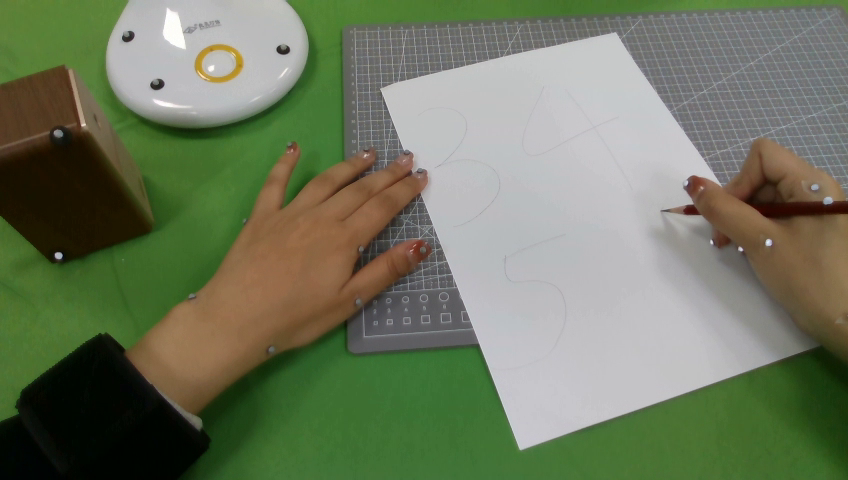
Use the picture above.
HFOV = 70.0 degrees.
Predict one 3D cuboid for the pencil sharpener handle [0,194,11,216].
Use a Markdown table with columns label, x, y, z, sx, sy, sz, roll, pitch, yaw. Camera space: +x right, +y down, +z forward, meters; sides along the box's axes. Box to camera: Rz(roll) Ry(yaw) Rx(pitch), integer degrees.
| label | x | y | z | sx | sy | sz | roll | pitch | yaw |
| --- | --- | --- | --- | --- | --- | --- | --- | --- | --- |
| pencil sharpener handle | -0.276 | -0.031 | 0.359 | 0.031 | 0.068 | 0.035 | -22 | 65 | -13 |

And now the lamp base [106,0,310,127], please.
| label | x | y | z | sx | sy | sz | roll | pitch | yaw |
| --- | --- | --- | --- | --- | --- | --- | --- | --- | --- |
| lamp base | -0.182 | -0.203 | 0.434 | 0.160 | 0.182 | 0.177 | -32 | 62 | -18 |

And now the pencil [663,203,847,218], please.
| label | x | y | z | sx | sy | sz | roll | pitch | yaw |
| --- | --- | --- | --- | --- | --- | --- | --- | --- | --- |
| pencil | 0.223 | -0.017 | 0.350 | 0.012 | 0.193 | 0.012 | -46 | 115 | -24 |

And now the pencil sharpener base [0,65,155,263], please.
| label | x | y | z | sx | sy | sz | roll | pitch | yaw |
| --- | --- | --- | --- | --- | --- | --- | --- | --- | --- |
| pencil sharpener base | -0.230 | -0.043 | 0.381 | 0.077 | 0.108 | 0.061 | -22 | 62 | -13 |
